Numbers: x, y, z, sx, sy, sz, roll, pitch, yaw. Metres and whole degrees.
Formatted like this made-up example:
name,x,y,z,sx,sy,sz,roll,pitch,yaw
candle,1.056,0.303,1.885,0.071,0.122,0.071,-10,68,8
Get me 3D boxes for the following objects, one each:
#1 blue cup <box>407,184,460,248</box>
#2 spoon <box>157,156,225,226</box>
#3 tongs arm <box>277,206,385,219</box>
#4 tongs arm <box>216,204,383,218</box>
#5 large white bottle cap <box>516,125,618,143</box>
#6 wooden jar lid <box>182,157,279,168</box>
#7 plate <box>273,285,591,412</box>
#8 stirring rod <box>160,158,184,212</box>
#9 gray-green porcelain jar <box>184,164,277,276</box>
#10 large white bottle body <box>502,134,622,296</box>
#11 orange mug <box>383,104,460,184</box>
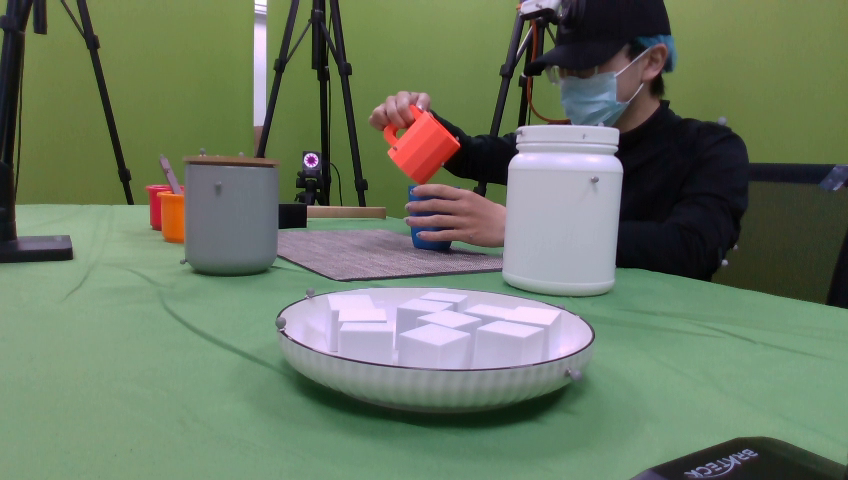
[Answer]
name,x,y,z,sx,sy,sz,roll,pitch,yaw
blue cup,0.014,-0.039,0.972,0.093,0.100,0.092,1,6,0
spoon,-0.425,-0.094,1.118,0.041,0.022,0.194,4,51,30
tongs arm,-0.252,-0.062,1.361,0.387,0.026,0.050,-1,3,-31
tongs arm,-0.289,-0.069,1.435,0.389,0.027,0.028,0,-1,-18
large white bottle cap,0.163,-0.120,0.695,0.115,0.018,0.115,2,7,0
wooden jar lid,-0.227,-0.086,0.714,0.108,0.020,0.108,1,6,0
plate,0.005,0.069,0.408,0.208,0.039,0.207,2,7,0
stirring rod,-0.391,-0.070,0.972,0.014,0.006,0.175,-1,49,-49
gray-green porcelain jar,-0.230,-0.025,0.722,0.106,0.126,0.106,3,7,0
large white bottle body,0.160,-0.037,0.706,0.131,0.184,0.130,2,7,0
orange mug,-0.011,-0.172,1.040,0.126,0.100,0.084,53,14,17
